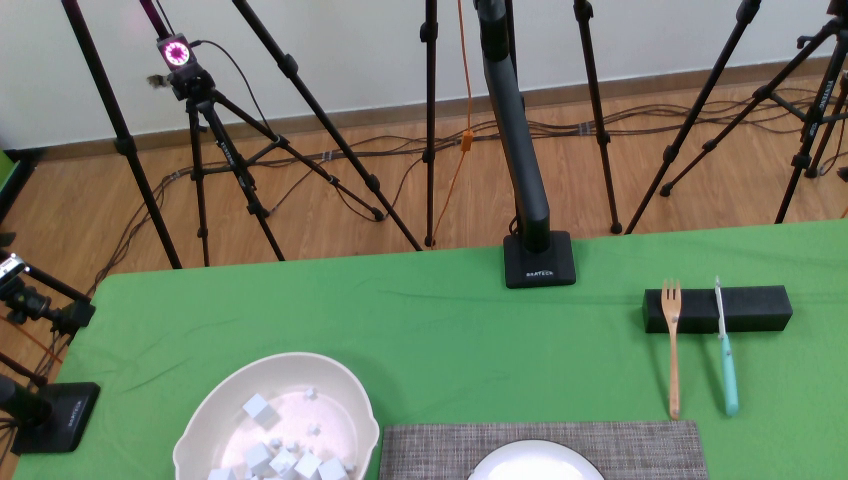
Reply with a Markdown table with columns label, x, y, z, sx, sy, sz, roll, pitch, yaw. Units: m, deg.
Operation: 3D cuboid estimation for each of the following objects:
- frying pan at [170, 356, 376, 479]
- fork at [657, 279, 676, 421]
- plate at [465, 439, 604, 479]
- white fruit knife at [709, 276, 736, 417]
| label | x | y | z | sx | sy | sz | roll | pitch | yaw |
| --- | --- | --- | --- | --- | --- | --- | --- | --- | --- |
| frying pan | -0.215 | 0.383 | 0.812 | 0.306 | 0.104 | 0.483 | -7 | 41 | 7 |
| fork | 0.360 | 0.159 | 0.891 | 0.028 | 0.019 | 0.206 | 4 | 70 | 6 |
| plate | 0.145 | 0.366 | 0.789 | 0.207 | 0.039 | 0.205 | -6 | 50 | 8 |
| white fruit knife | 0.430 | 0.150 | 0.882 | 0.016 | 0.027 | 0.206 | -1 | 66 | 10 |
